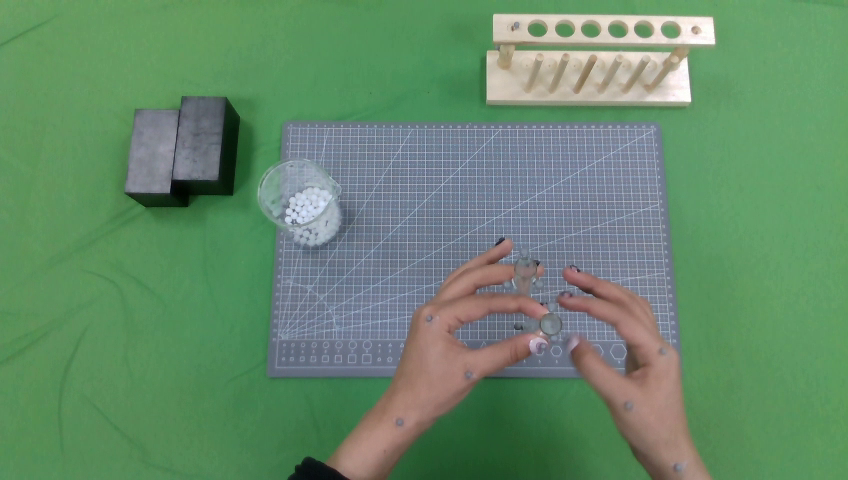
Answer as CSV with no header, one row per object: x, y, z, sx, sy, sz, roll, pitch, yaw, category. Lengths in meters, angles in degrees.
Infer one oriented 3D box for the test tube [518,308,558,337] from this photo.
0.087,0.067,0.471,0.017,0.151,0.017,-1,80,4,test tube

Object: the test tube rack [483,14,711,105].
0.193,-0.207,0.701,0.242,0.085,0.066,1,76,0,test tube rack

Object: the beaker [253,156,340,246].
-0.128,-0.037,0.650,0.084,0.100,0.073,-7,77,-2,beaker

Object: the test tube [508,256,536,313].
0.073,0.038,0.465,0.017,0.151,0.017,-2,74,6,test tube
